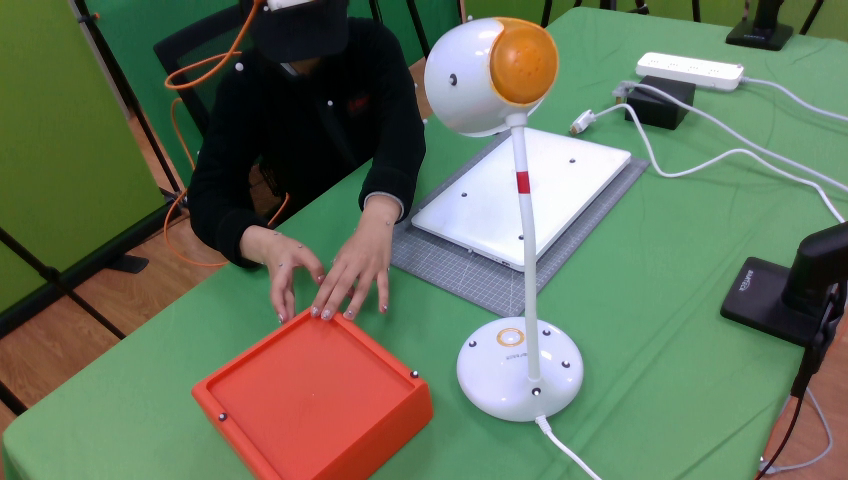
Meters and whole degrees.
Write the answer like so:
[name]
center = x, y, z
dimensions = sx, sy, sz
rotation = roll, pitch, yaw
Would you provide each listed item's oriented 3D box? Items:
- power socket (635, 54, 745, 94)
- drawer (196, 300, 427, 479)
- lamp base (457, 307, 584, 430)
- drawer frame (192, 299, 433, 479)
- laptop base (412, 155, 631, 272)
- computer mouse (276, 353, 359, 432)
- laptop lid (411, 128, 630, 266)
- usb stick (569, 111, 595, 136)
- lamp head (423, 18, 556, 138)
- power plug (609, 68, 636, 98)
[power socket]
center = 0.563, -0.358, 1.295
dimensions = 0.225, 0.033, 0.072
rotation = 21, 49, 31
[drawer]
center = -0.136, 0.196, 0.738
dimensions = 0.195, 0.073, 0.210
rotation = -34, 47, -28
[lamp base]
center = 0.115, 0.108, 0.713
dimensions = 0.161, 0.181, 0.178
rotation = -16, 42, -8
[drawer frame]
center = -0.134, 0.195, 0.734
dimensions = 0.202, 0.083, 0.211
rotation = -35, 47, -29
[laptop base]
center = 0.176, -0.084, 1.055
dimensions = 0.233, 0.023, 0.355
rotation = 21, 48, 36
[computer mouse]
center = -0.137, 0.188, 0.766
dimensions = 0.063, 0.041, 0.116
rotation = -37, 48, -25
[laptop lid]
center = 0.172, -0.093, 1.049
dimensions = 0.239, 0.013, 0.358
rotation = 23, 49, 36
[usb stick]
center = 0.309, -0.227, 1.189
dimensions = 0.059, 0.021, 0.027
rotation = -44, 13, -19
[lamp head]
center = 0.068, -0.151, 0.563
dimensions = 0.113, 0.113, 0.122
rotation = -21, 18, -13
[power plug]
center = 0.406, -0.323, 1.233
dimensions = 0.035, 0.072, 0.052
rotation = 6, 37, -34
